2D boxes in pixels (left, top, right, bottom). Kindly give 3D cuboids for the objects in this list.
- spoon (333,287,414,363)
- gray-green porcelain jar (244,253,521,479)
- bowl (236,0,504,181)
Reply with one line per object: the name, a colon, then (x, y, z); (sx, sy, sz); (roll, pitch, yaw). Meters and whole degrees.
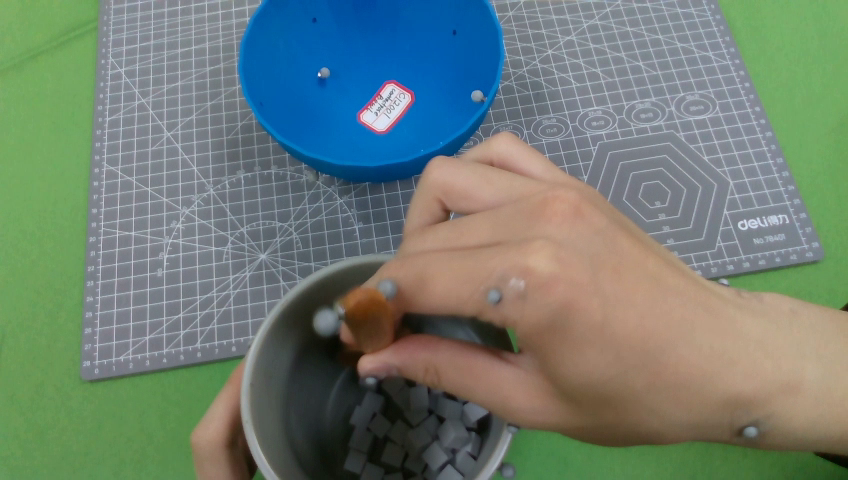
spoon: (-0.019, 0.038, 0.242); (0.041, 0.194, 0.021); (-20, 82, -8)
gray-green porcelain jar: (-0.013, 0.076, 0.285); (0.106, 0.127, 0.105); (-1, 68, 2)
bowl: (-0.029, -0.093, 0.375); (0.151, 0.077, 0.150); (-1, 68, 2)
